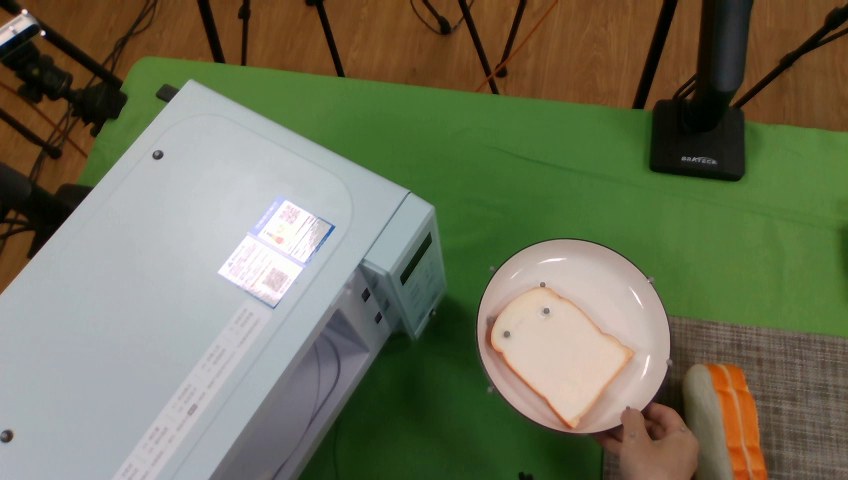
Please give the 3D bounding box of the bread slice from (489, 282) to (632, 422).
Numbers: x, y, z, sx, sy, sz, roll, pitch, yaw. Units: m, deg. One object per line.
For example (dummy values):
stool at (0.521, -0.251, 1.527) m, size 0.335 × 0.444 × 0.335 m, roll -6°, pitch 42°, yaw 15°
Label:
bread slice at (0.136, 0.112, 0.647) m, size 0.134 × 0.018 × 0.107 m, roll 39°, pitch 73°, yaw 11°

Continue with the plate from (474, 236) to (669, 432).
plate at (0.155, 0.099, 0.654) m, size 0.208 × 0.039 × 0.206 m, roll 1°, pitch 73°, yaw -2°

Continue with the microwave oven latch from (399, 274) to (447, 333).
microwave oven latch at (-0.002, 0.072, 0.742) m, size 0.030 × 0.030 × 0.079 m, roll 30°, pitch 73°, yaw 16°

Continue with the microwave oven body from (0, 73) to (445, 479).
microwave oven body at (-0.229, 0.109, 0.641) m, size 0.324 × 0.262 × 0.440 m, roll 28°, pitch 73°, yaw 15°
